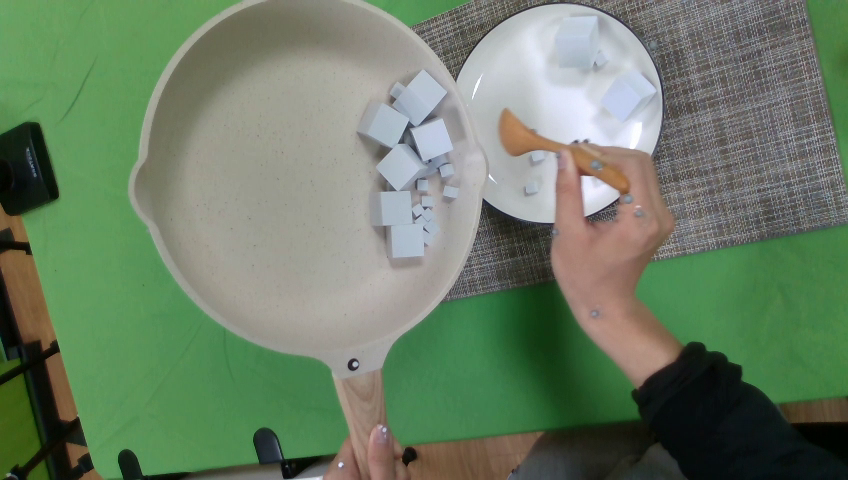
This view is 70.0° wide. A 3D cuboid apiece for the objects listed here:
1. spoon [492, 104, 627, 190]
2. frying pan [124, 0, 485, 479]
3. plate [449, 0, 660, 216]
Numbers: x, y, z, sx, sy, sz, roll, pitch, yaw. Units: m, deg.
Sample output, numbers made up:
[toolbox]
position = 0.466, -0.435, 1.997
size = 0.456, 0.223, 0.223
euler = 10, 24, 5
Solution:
[spoon]
position = 0.093, -0.071, 0.453
size = 0.022, 0.192, 0.042
euler = -16, 115, -17
[frying pan]
position = -0.070, 0.049, 0.511
size = 0.102, 0.308, 0.487
euler = -11, 88, 59
[plate]
position = 0.122, -0.128, 0.593
size = 0.206, 0.039, 0.208
euler = 3, 100, 22
